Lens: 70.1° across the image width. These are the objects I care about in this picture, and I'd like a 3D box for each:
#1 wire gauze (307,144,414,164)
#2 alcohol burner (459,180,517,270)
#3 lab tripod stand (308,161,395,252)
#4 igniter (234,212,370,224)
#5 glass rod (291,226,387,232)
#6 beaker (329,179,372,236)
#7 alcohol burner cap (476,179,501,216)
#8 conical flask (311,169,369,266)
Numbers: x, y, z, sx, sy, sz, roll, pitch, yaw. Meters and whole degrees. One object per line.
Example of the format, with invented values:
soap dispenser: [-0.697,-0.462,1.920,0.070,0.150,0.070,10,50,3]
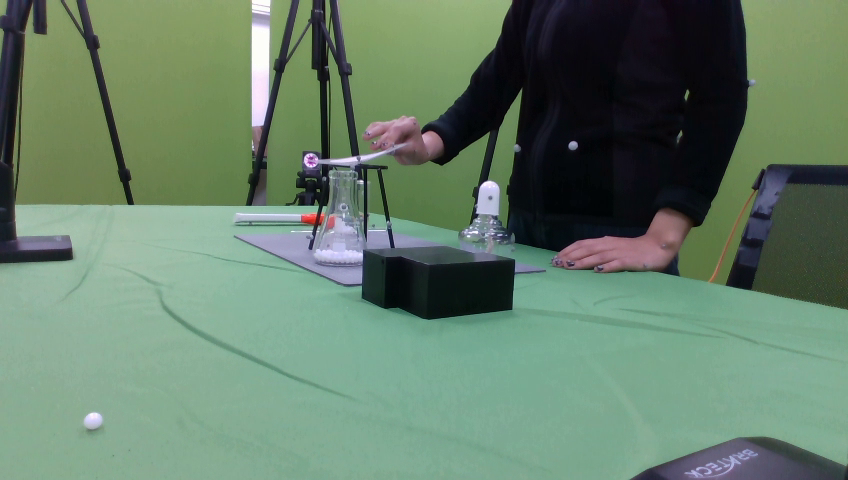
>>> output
wire gauze: [-0.097,-0.128,0.909,0.122,0.011,0.124,-20,17,-41]
alcohol burner: [0.086,-0.021,0.806,0.078,0.119,0.078,3,9,0]
lab tripod stand: [-0.098,-0.053,0.918,0.148,0.131,0.148,4,7,0]
igniter: [-0.247,-0.046,1.253,0.278,0.025,0.057,-1,-2,-27]
glass rod: [-0.161,-0.022,1.177,0.201,0.008,0.008,-2,8,-29]
beaker: [-0.137,-0.060,1.101,0.084,0.100,0.074,4,7,20]
alcohol burner cap: [0.086,-0.056,0.801,0.034,0.048,0.034,4,3,0]
conical flask: [-0.107,-0.031,0.786,0.075,0.122,0.075,2,8,0]
